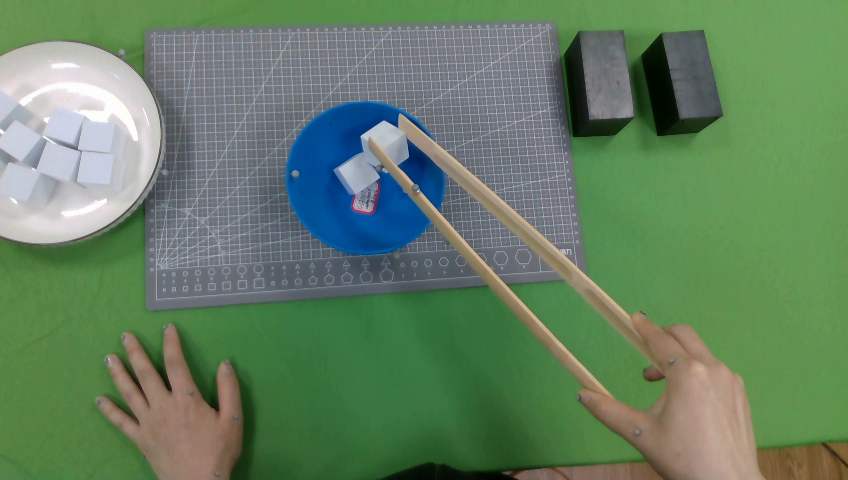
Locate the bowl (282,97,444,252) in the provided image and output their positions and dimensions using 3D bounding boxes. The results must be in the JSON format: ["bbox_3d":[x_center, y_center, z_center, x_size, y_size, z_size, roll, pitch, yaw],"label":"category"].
[{"bbox_3d":[-0.059,-0.056,0.601,0.151,0.077,0.151,1,80,-6],"label":"bowl"}]

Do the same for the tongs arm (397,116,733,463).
[{"bbox_3d":[0.099,0.022,0.504,0.028,0.028,0.384,-34,68,-24],"label":"tongs arm"}]

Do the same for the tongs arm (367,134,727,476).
[{"bbox_3d":[0.081,0.035,0.495,0.051,0.027,0.381,-32,67,-19],"label":"tongs arm"}]

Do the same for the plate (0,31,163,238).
[{"bbox_3d":[-0.361,-0.101,0.597,0.208,0.039,0.207,1,81,-5],"label":"plate"}]
